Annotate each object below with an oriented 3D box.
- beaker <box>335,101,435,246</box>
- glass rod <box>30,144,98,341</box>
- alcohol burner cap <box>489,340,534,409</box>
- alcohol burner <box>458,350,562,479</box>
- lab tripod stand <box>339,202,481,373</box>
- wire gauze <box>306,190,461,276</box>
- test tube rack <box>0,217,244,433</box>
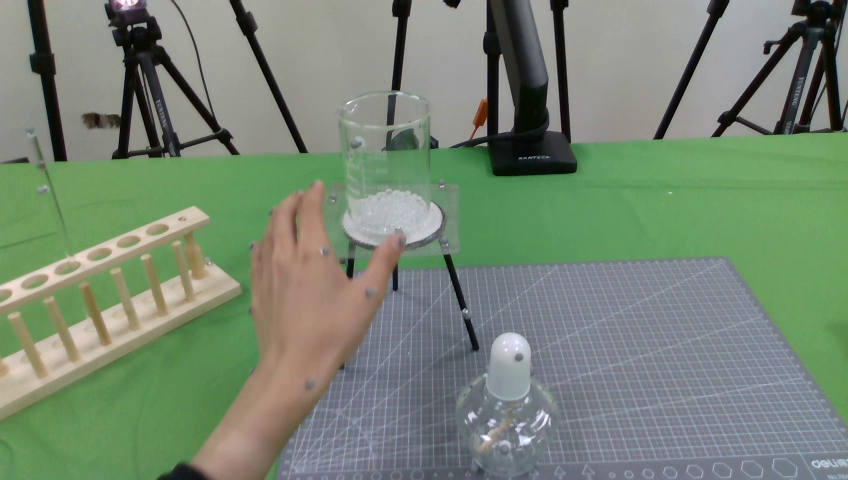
[{"bbox_3d":[-0.032,-0.053,0.491,0.083,0.101,0.074,22,40,30],"label":"beaker"},{"bbox_3d":[-0.329,0.010,0.558,0.008,0.201,0.008,-1,26,1],"label":"glass rod"},{"bbox_3d":[0.063,0.091,0.424,0.034,0.048,0.033,0,35,0],"label":"alcohol burner cap"},{"bbox_3d":[0.064,0.121,0.444,0.078,0.120,0.077,-1,36,1],"label":"alcohol burner"},{"bbox_3d":[-0.018,0.042,0.554,0.148,0.132,0.147,-1,32,1],"label":"lab tripod stand"},{"bbox_3d":[-0.030,-0.011,0.515,0.121,0.011,0.124,-1,35,3],"label":"wire gauze"},{"bbox_3d":[-0.305,0.071,0.583,0.242,0.086,0.066,-30,41,-35],"label":"test tube rack"}]
